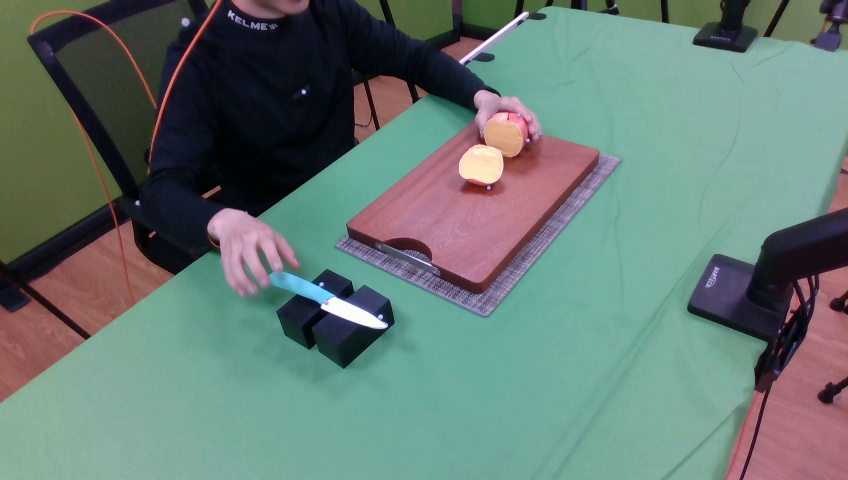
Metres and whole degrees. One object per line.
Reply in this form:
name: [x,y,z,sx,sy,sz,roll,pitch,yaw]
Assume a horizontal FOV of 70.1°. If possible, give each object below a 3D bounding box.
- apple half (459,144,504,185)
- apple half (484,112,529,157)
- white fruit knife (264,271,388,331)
apple half: [0.102,-0.125,1.040,0.081,0.033,0.081,-3,65,8]
apple half: [0.154,-0.195,1.090,0.080,0.075,0.053,15,41,27]
white fruit knife: [-0.134,0.082,0.824,0.206,0.016,0.027,20,71,25]
